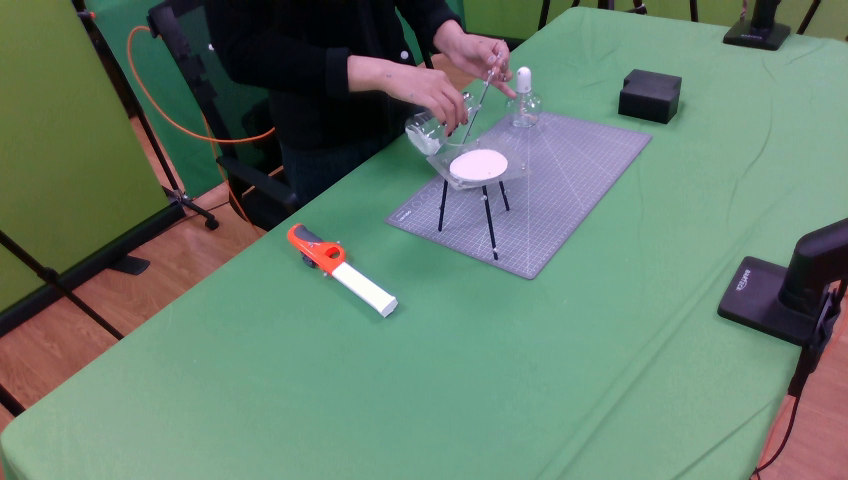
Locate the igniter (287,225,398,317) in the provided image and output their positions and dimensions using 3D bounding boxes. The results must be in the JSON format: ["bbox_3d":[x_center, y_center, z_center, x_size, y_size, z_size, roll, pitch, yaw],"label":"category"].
[{"bbox_3d":[-0.139,0.041,0.957,0.057,0.025,0.274,-42,49,-19],"label":"igniter"}]

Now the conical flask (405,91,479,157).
[{"bbox_3d":[0.034,-0.199,0.999,0.122,0.076,0.074,-38,47,-15],"label":"conical flask"}]

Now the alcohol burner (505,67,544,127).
[{"bbox_3d":[0.201,-0.288,1.211,0.078,0.119,0.077,-6,38,5],"label":"alcohol burner"}]

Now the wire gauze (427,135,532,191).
[{"bbox_3d":[0.081,-0.115,0.909,0.125,0.011,0.120,-18,39,-11],"label":"wire gauze"}]

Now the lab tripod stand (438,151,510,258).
[{"bbox_3d":[0.087,-0.064,0.952,0.148,0.132,0.147,-6,38,5],"label":"lab tripod stand"}]

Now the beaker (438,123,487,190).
[{"bbox_3d":[0.072,-0.147,1.080,0.084,0.101,0.073,-5,40,6],"label":"beaker"}]

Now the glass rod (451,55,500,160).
[{"bbox_3d":[0.086,-0.219,1.032,0.008,0.199,0.008,22,20,-8],"label":"glass rod"}]

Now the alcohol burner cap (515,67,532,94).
[{"bbox_3d":[0.197,-0.315,1.187,0.034,0.048,0.033,-3,46,3],"label":"alcohol burner cap"}]
